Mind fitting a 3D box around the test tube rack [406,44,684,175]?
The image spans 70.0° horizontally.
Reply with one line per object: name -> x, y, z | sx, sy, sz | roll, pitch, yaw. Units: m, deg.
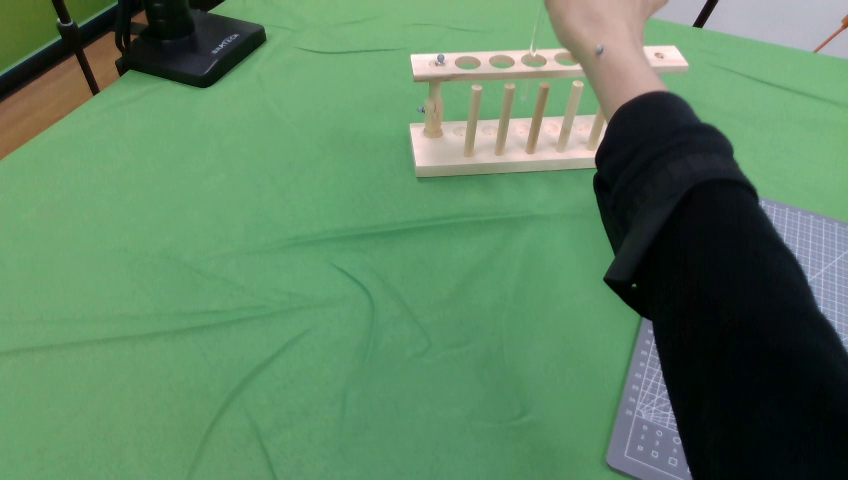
test tube rack -> 0.108, -0.119, 0.549 | 0.243, 0.086, 0.066 | -4, 47, -6

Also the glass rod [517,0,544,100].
glass rod -> 0.090, -0.187, 0.475 | 0.008, 0.201, 0.008 | 1, 55, -1
